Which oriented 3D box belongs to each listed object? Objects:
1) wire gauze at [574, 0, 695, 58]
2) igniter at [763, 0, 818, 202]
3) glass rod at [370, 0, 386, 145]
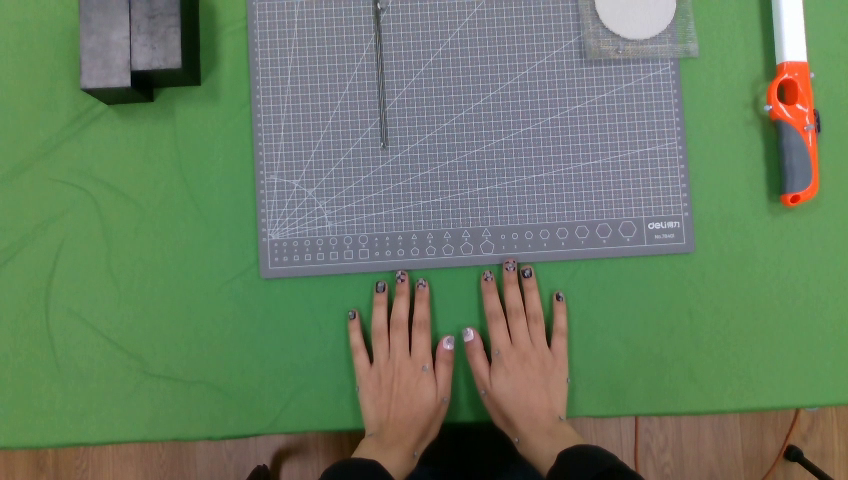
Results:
[{"bbox_3d":[0.221,-0.254,0.642,0.125,0.011,0.121,-4,87,-1],"label":"wire gauze"},{"bbox_3d":[0.378,-0.177,0.631,0.057,0.025,0.276,-1,87,-10],"label":"igniter"},{"bbox_3d":[-0.050,-0.198,0.635,0.008,0.008,0.199,-4,86,-1],"label":"glass rod"}]
